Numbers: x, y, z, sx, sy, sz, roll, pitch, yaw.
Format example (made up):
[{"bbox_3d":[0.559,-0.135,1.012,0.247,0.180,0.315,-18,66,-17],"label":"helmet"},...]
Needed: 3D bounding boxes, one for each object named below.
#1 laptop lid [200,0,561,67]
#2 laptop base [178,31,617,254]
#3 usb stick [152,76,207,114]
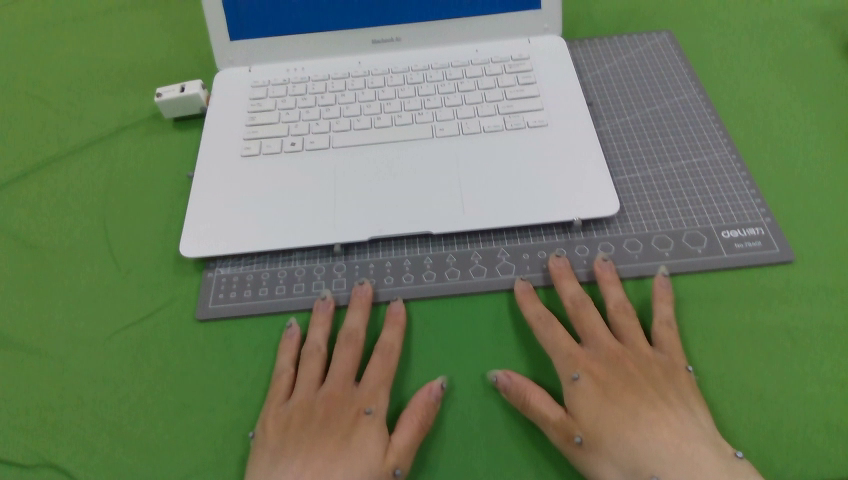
[{"bbox_3d":[-0.048,-0.294,0.572,0.357,0.243,0.013,-7,23,1],"label":"laptop lid"},{"bbox_3d":[-0.029,-0.095,0.548,0.354,0.023,0.233,-6,56,0],"label":"laptop base"},{"bbox_3d":[-0.227,-0.141,0.584,0.059,0.027,0.021,-8,52,0],"label":"usb stick"}]
